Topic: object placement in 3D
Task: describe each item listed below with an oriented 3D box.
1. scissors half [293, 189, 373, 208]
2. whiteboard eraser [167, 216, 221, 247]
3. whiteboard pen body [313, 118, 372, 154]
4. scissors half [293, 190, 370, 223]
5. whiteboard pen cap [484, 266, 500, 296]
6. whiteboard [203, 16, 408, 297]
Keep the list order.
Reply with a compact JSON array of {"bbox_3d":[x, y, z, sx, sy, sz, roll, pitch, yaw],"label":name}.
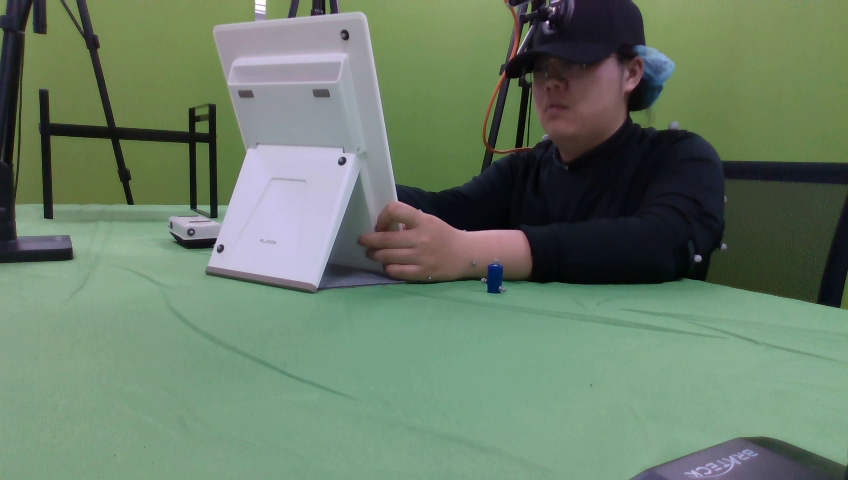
[{"bbox_3d":[-0.201,-0.096,1.332,0.175,0.040,0.013,5,18,-4],"label":"scissors half"},{"bbox_3d":[-0.350,-0.013,0.920,0.056,0.042,0.112,0,7,-35],"label":"whiteboard eraser"},{"bbox_3d":[-0.104,-0.133,0.775,0.017,0.017,0.141,6,27,23],"label":"whiteboard pen body"},{"bbox_3d":[-0.205,-0.077,1.338,0.175,0.040,0.013,22,11,-8],"label":"scissors half"},{"bbox_3d":[0.075,0.046,0.668,0.018,0.033,0.018,3,7,0],"label":"whiteboard pen cap"},{"bbox_3d":[-0.166,-0.072,0.669,0.216,0.305,0.144,8,30,30],"label":"whiteboard"}]
